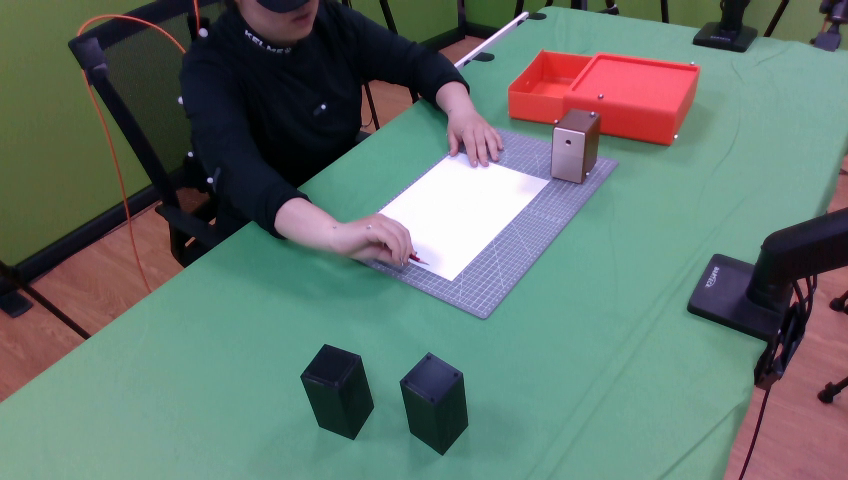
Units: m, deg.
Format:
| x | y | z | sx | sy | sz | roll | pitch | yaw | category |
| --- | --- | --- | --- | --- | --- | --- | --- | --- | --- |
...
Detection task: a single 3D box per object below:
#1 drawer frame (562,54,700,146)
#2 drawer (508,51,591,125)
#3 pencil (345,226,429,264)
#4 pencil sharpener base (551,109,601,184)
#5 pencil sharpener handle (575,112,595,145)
| x | y | z | sx | sy | sz | roll | pitch | yaw | category |
| --- | --- | --- | --- | --- | --- | --- | --- | --- | --- |
| 0.407 | -0.282 | 1.195 | 0.212 | 0.083 | 0.202 | 17 | 45 | 25 | drawer frame |
| 0.305 | -0.309 | 1.246 | 0.210 | 0.073 | 0.195 | 16 | 45 | 25 | drawer |
| -0.061 | 0.008 | 0.942 | 0.192 | 0.012 | 0.012 | 22 | 48 | 40 | pencil |
| 0.265 | -0.163 | 1.053 | 0.061 | 0.107 | 0.077 | 17 | 46 | 28 | pencil sharpener base |
| 0.290 | -0.203 | 1.077 | 0.036 | 0.068 | 0.031 | 20 | 47 | 25 | pencil sharpener handle |
